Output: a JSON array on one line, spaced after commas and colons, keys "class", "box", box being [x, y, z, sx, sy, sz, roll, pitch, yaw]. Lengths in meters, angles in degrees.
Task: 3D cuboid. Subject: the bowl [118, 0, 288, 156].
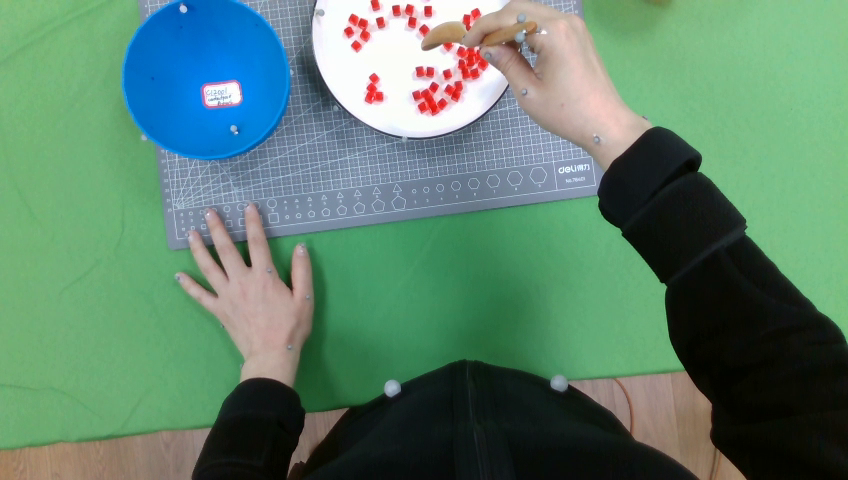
[{"class": "bowl", "box": [-0.198, -0.149, 0.579, 0.151, 0.077, 0.151, 0, 90, -2]}]

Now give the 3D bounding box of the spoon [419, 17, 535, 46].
[{"class": "spoon", "box": [0.039, -0.161, 0.469, 0.041, 0.192, 0.022, -27, 116, -11]}]

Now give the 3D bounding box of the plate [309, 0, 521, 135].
[{"class": "plate", "box": [-0.008, -0.206, 0.605, 0.209, 0.038, 0.209, 0, 89, -1]}]
